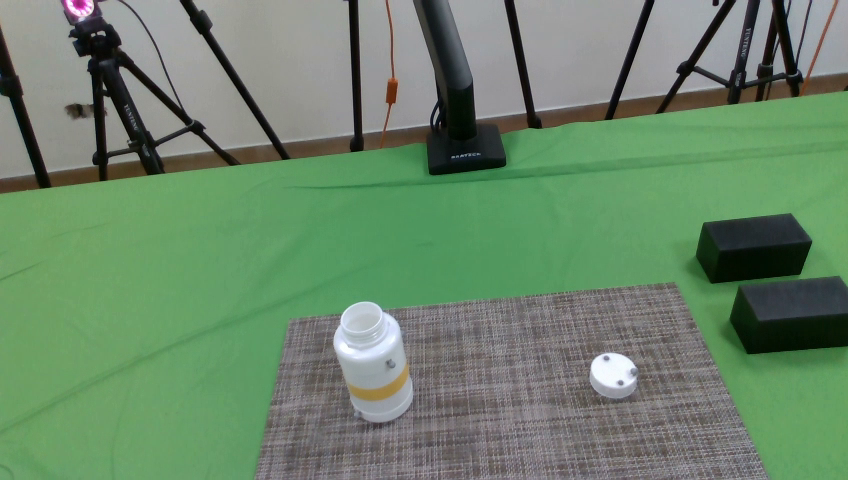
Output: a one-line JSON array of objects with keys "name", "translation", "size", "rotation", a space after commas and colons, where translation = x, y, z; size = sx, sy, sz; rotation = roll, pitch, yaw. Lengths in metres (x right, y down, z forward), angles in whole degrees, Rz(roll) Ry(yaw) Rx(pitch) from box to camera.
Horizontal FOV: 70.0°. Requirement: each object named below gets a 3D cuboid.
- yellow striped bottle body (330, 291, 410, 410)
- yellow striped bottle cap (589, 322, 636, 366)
[{"name": "yellow striped bottle body", "translation": [-0.052, 0.103, 0.578], "size": [0.063, 0.121, 0.062], "rotation": [-5, 41, 5]}, {"name": "yellow striped bottle cap", "translation": [0.182, 0.101, 0.586], "size": [0.044, 0.019, 0.044], "rotation": [-7, 32, 5]}]
